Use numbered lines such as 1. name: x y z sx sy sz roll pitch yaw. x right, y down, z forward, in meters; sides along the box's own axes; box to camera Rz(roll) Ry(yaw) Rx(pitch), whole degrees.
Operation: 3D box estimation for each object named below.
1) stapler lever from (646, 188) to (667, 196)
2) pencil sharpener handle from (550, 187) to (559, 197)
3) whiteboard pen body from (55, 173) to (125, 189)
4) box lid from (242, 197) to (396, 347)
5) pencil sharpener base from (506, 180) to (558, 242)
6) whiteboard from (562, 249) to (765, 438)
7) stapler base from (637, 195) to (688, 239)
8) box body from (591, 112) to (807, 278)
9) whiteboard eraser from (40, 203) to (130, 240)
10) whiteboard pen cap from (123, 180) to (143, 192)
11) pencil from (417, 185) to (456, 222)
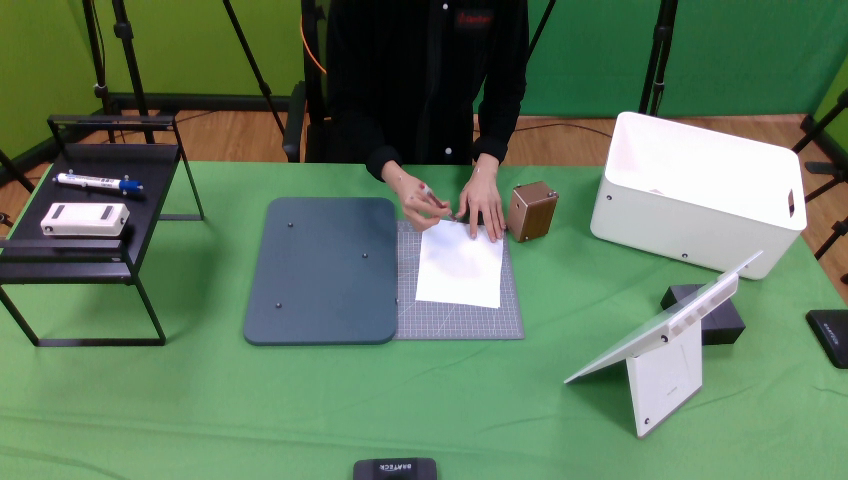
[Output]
1. stapler lever: 0.507 -0.075 1.262 0.027 0.040 0.117 -14 46 -19
2. pencil sharpener handle: 0.261 -0.084 1.221 0.031 0.068 0.036 -16 66 -19
3. whiteboard pen body: -0.539 -0.095 0.998 0.141 0.017 0.017 6 46 6
4. box lid: -0.186 0.046 1.147 0.263 0.015 0.369 0 46 -3
5. pencil sharpener base: 0.216 -0.058 1.211 0.077 0.107 0.061 -16 49 -19
6. whiteboard: 0.386 0.175 0.905 0.217 0.306 0.143 -26 72 -26
7. stapler base: 0.507 -0.055 1.280 0.041 0.024 0.129 -14 47 -19
8. box body: 0.540 -0.092 1.230 0.363 0.161 0.253 16 47 11
9. whiteboard eraser: -0.513 -0.028 0.922 0.113 0.042 0.055 1 48 -3
10. whiteboard pen cap: -0.479 -0.089 0.993 0.033 0.018 0.018 7 46 14
11. pencil: 0.027 -0.061 1.087 0.012 0.195 0.012 -6 72 20
